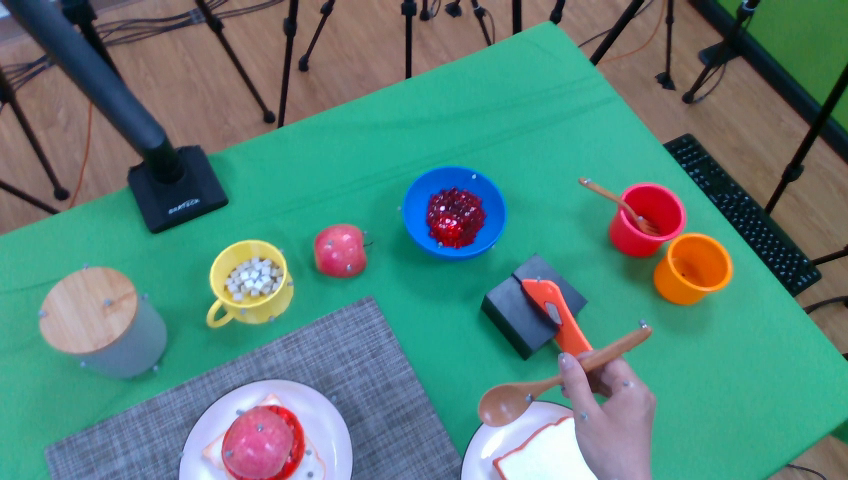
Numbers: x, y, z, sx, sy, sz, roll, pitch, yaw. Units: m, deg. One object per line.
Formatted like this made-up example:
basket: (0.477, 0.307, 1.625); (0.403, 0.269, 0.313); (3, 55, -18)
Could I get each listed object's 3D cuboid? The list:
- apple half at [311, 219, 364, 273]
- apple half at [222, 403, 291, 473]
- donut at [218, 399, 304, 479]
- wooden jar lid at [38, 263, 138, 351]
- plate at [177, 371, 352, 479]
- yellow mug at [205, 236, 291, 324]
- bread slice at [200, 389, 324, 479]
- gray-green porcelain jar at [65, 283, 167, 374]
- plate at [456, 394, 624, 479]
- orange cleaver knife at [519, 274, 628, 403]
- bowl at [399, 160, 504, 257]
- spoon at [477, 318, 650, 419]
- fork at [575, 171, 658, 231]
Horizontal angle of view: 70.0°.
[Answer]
apple half: (-0.126, 0.003, 0.873); (0.075, 0.054, 0.080); (-5, 65, -4)
apple half: (-0.192, 0.226, 0.691); (0.081, 0.033, 0.080); (0, 68, 1)
donut: (-0.194, 0.239, 0.724); (0.099, 0.048, 0.098); (2, 64, -3)
wooden jar lid: (-0.388, 0.079, 0.706); (0.108, 0.021, 0.107); (1, 62, -2)
plate: (-0.191, 0.267, 0.742); (0.208, 0.039, 0.206); (2, 64, -3)
yellow mug: (-0.248, 0.063, 0.827); (0.099, 0.064, 0.130); (35, 67, 13)
bread slice: (-0.189, 0.264, 0.744); (0.133, 0.018, 0.107); (41, 68, 15)
gray-green porcelain jar: (-0.392, 0.107, 0.761); (0.106, 0.127, 0.105); (2, 63, -3)
plate: (0.142, 0.299, 0.754); (0.209, 0.038, 0.207); (2, 64, -3)
orange cleaver knife: (0.199, 0.131, 0.816); (0.012, 0.077, 0.211); (-35, 93, -26)
bowl: (0.038, -0.033, 0.888); (0.151, 0.077, 0.150); (2, 64, -3)
spoon: (0.130, 0.125, 0.583); (0.041, 0.194, 0.021); (56, 28, -1)
fork: (0.283, -0.055, 0.878); (0.209, 0.018, 0.028); (26, 54, -39)
